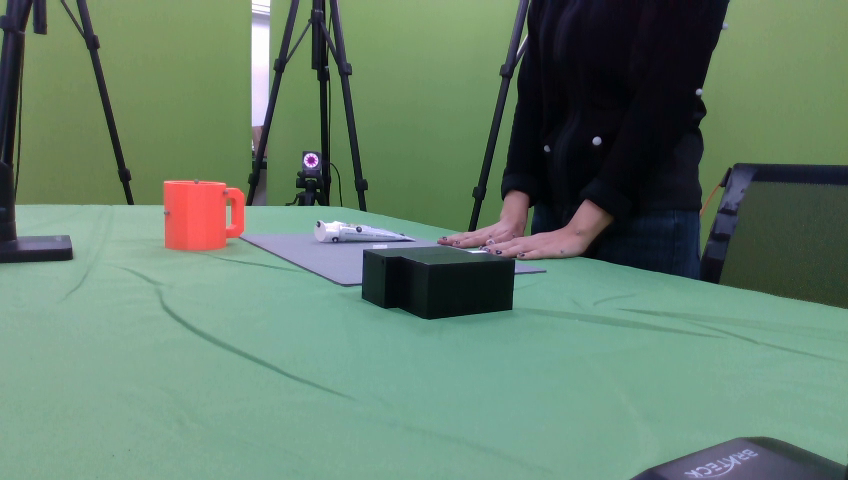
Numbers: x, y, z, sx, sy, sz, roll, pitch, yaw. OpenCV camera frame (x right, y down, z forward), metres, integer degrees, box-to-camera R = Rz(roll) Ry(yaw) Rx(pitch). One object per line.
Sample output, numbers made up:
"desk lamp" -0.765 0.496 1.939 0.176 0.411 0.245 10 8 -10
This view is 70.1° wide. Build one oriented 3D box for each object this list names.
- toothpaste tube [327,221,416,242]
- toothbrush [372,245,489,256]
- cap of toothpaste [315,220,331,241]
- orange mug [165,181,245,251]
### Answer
"toothpaste tube" -0.095 -0.012 1.026 0.166 0.034 0.055 2 13 -33
"toothbrush" 0.012 0.016 0.875 0.183 0.016 0.014 1 -7 -22
"cap of toothpaste" -0.164 -0.016 0.982 0.011 0.037 0.037 -9 12 -43
"orange mug" -0.326 -0.040 0.911 0.083 0.101 0.127 8 14 37
